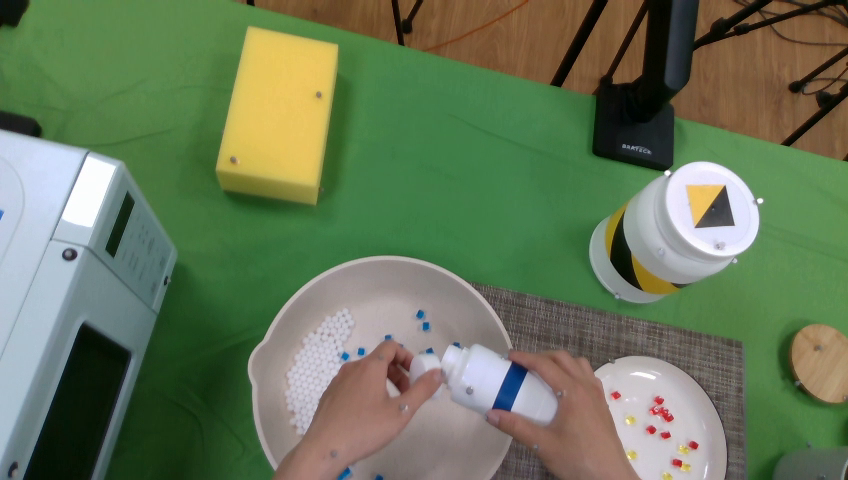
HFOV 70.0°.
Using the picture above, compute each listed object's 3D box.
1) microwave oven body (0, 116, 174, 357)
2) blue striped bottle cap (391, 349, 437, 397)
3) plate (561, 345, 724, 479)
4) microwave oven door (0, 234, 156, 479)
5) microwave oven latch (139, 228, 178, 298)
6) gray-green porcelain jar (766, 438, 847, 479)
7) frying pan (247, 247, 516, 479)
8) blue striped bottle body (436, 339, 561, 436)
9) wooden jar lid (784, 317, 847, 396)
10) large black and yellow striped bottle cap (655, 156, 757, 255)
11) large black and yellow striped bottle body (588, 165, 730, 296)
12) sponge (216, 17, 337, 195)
[{"bbox_3d":[-0.460,0.123,0.515,0.327,0.261,0.439,13,71,-7],"label":"microwave oven body"},{"bbox_3d":[-0.010,0.130,0.593,0.021,0.044,0.044,28,55,-50],"label":"blue striped bottle cap"},{"bbox_3d":[0.263,0.235,0.743,0.210,0.038,0.208,3,72,-10],"label":"plate"},{"bbox_3d":[-0.326,0.193,0.513,0.039,0.244,0.353,13,70,-7],"label":"microwave oven door"},{"bbox_3d":[-0.302,0.024,0.682,0.030,0.029,0.078,16,70,-6],"label":"microwave oven latch"},{"bbox_3d":[0.491,0.293,0.727,0.106,0.127,0.105,3,71,-10],"label":"gray-green porcelain jar"},{"bbox_3d":[-0.056,0.245,0.641,0.307,0.103,0.484,12,62,-5],"label":"frying pan"},{"bbox_3d":[0.069,0.141,0.605,0.120,0.063,0.063,24,68,9],"label":"blue striped bottle body"},{"bbox_3d":[0.545,0.161,0.838,0.109,0.021,0.107,3,73,-10],"label":"wooden jar lid"},{"bbox_3d":[0.315,-0.040,0.677,0.115,0.019,0.114,4,70,-10],"label":"large black and yellow striped bottle cap"},{"bbox_3d":[0.300,-0.013,0.757,0.131,0.184,0.130,3,71,-10],"label":"large black and yellow striped bottle body"},{"bbox_3d":[-0.184,-0.170,0.775,0.118,0.061,0.205,8,72,-9],"label":"sponge"}]
